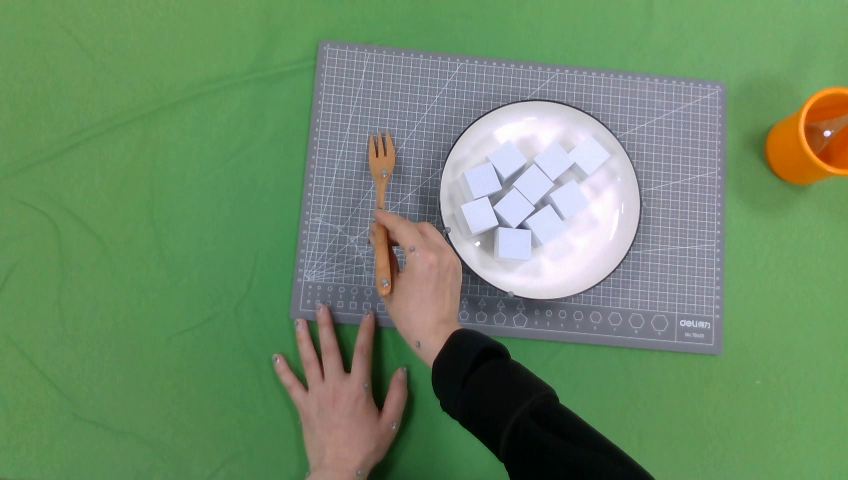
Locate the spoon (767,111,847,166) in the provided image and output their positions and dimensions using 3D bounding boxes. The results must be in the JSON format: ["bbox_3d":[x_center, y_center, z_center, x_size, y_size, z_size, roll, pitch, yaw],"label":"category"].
[{"bbox_3d":[0.443,-0.134,0.605,0.022,0.194,0.041,-14,75,-49],"label":"spoon"}]

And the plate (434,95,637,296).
[{"bbox_3d":[0.112,-0.045,0.627,0.208,0.039,0.207,1,83,-4],"label":"plate"}]

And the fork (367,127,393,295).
[{"bbox_3d":[-0.042,-0.035,0.582,0.028,0.019,0.205,-9,50,7],"label":"fork"}]
